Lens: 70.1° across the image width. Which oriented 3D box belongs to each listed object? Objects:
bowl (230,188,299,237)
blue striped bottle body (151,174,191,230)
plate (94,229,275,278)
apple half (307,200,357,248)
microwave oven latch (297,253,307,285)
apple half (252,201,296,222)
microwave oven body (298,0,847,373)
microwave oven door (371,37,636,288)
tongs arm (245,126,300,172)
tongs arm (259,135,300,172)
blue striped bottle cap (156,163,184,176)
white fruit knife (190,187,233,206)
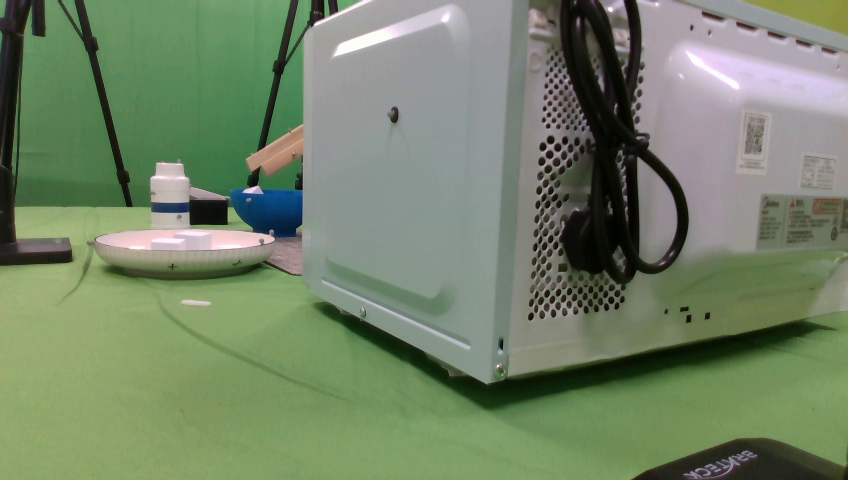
[{"bbox_3d":[-0.264,-0.048,1.066,0.151,0.077,0.151,3,8,0],"label":"bowl"},{"bbox_3d":[-0.439,-0.071,1.052,0.063,0.120,0.063,2,7,0],"label":"blue striped bottle body"},{"bbox_3d":[-0.291,0.016,0.750,0.208,0.039,0.207,2,7,0],"label":"plate"},{"bbox_3d":[-0.135,-0.024,0.942,0.053,0.074,0.081,13,9,38],"label":"apple half"},{"bbox_3d":[-0.082,0.027,0.582,0.079,0.029,0.030,-1,8,-33],"label":"microwave oven latch"},{"bbox_3d":[-0.265,-0.052,1.067,0.081,0.033,0.081,3,11,0],"label":"apple half"},{"bbox_3d":[0.151,-0.055,0.543,0.444,0.260,0.324,-1,8,-33],"label":"microwave oven body"},{"bbox_3d":[0.109,-0.080,0.686,0.358,0.243,0.039,-2,9,-33],"label":"microwave oven door"},{"bbox_3d":[-0.192,-0.232,1.176,0.050,0.026,0.386,2,34,37],"label":"tongs arm"},{"bbox_3d":[-0.171,-0.230,1.159,0.028,0.028,0.388,0,32,41],"label":"tongs arm"},{"bbox_3d":[-0.438,-0.122,1.045,0.044,0.020,0.044,5,6,0],"label":"blue striped bottle cap"},{"bbox_3d":[-0.413,-0.081,1.270,0.208,0.027,0.016,18,14,-41],"label":"white fruit knife"}]
